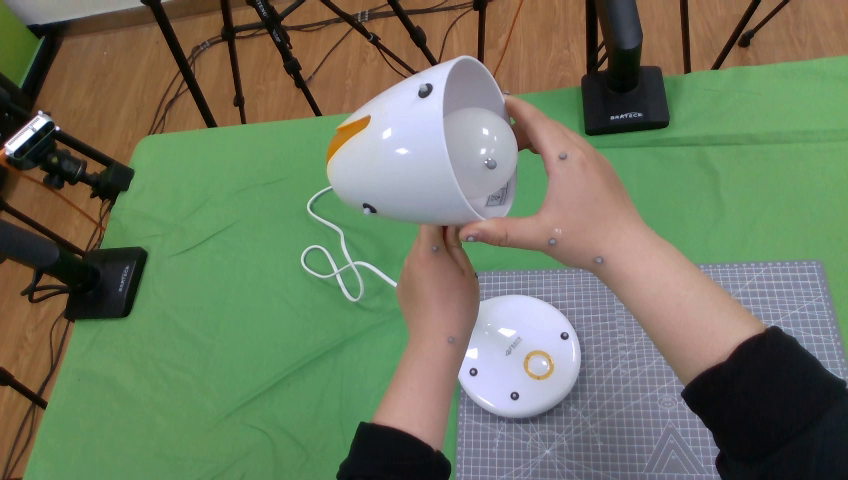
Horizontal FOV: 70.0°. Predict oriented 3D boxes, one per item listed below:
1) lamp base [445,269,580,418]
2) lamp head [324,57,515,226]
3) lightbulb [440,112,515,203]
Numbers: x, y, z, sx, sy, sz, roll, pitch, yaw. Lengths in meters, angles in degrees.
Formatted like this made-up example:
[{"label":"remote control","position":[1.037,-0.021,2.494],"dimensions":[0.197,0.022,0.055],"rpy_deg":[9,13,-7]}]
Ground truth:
[{"label":"lamp base","position":[0.087,0.104,0.708],"dimensions":[0.178,0.182,0.160],"rpy_deg":[22,69,27]},{"label":"lamp head","position":[-0.007,-0.058,0.432],"dimensions":[0.122,0.113,0.111],"rpy_deg":[-10,57,36]},{"label":"lightbulb","position":[0.011,-0.050,0.414],"dimensions":[0.107,0.060,0.059],"rpy_deg":[-11,57,34]}]
